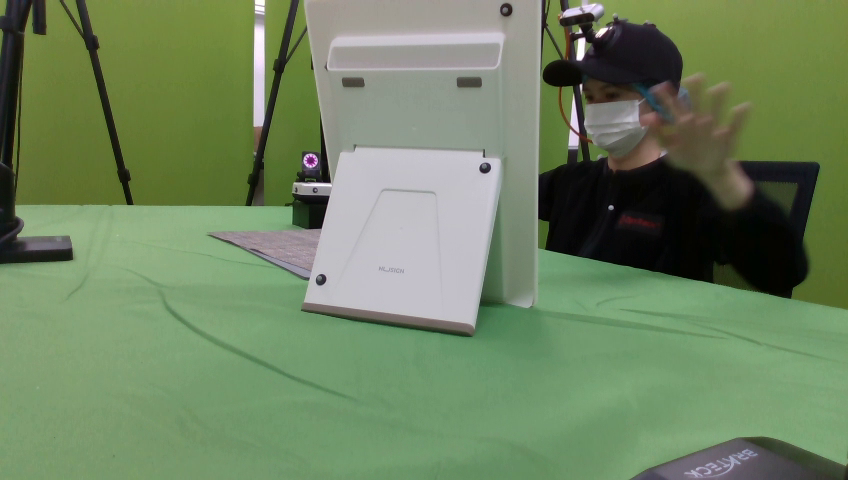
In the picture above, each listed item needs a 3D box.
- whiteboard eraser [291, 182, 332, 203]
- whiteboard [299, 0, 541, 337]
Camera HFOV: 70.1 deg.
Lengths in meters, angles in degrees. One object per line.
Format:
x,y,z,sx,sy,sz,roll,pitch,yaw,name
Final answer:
-0.210,-0.097,1.234,0.113,0.042,0.055,-2,7,-35,whiteboard eraser
-0.021,-0.050,0.523,0.216,0.305,0.144,6,27,20,whiteboard
